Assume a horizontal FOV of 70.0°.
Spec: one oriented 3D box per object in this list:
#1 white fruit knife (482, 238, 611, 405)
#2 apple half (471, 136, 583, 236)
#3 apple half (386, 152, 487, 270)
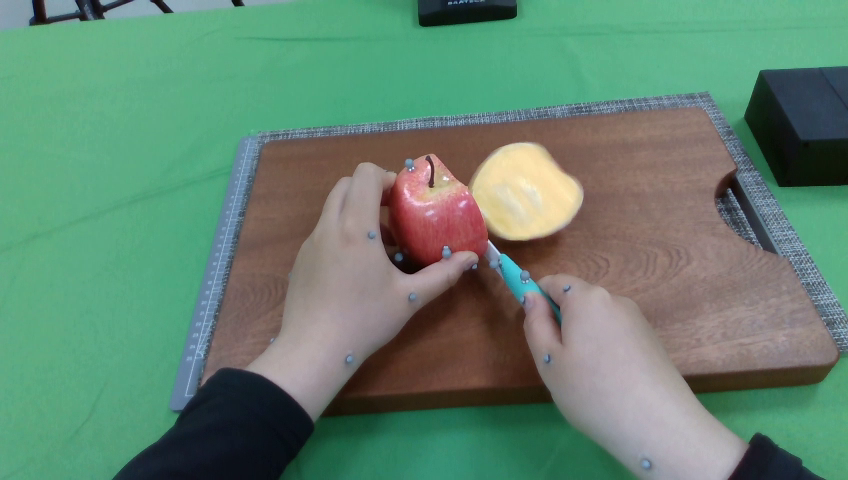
[{"bbox_3d":[0.054,0.021,0.401,0.016,0.028,0.205,-23,49,-16],"label":"white fruit knife"},{"bbox_3d":[0.074,-0.034,0.452,0.081,0.033,0.080,-3,67,7],"label":"apple half"},{"bbox_3d":[0.002,-0.013,0.422,0.053,0.075,0.080,-30,55,-12],"label":"apple half"}]
